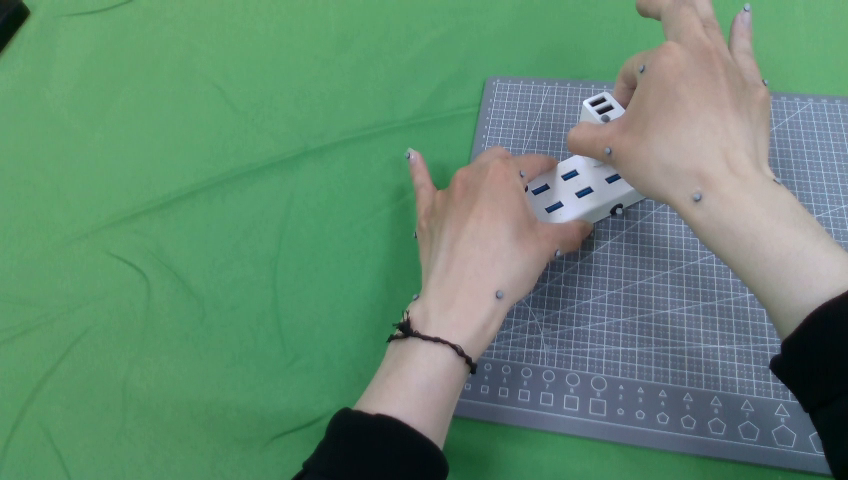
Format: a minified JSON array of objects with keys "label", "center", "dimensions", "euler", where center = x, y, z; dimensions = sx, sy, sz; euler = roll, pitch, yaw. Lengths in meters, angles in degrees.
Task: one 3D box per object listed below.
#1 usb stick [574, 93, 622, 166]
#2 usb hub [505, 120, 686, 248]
[{"label":"usb stick","center":[0.123,-0.073,0.432],"dimensions":[0.021,0.060,0.027],"euler":[-26,54,-9]},{"label":"usb hub","center":[0.125,-0.043,0.446],"dimensions":[0.125,0.025,0.049],"euler":[-27,52,-8]}]
